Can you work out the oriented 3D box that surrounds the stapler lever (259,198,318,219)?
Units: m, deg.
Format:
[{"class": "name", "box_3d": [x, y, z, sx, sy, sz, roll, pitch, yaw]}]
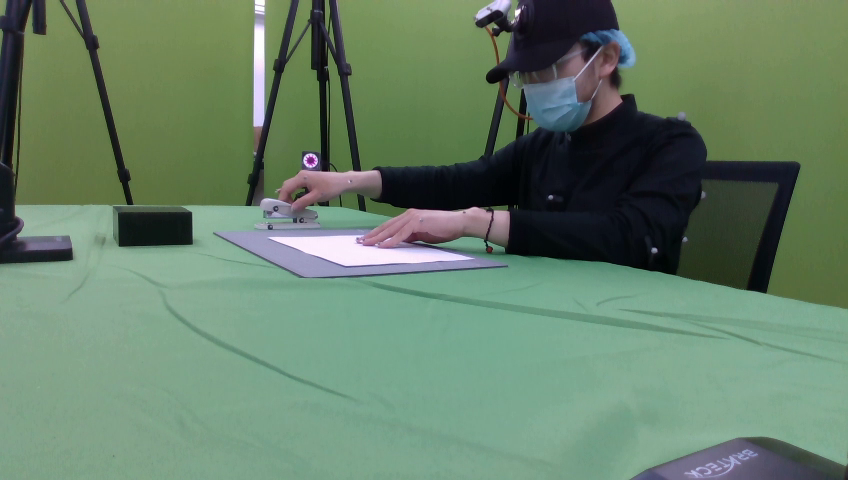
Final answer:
[{"class": "stapler lever", "box_3d": [-0.267, -0.061, 1.195, 0.119, 0.040, 0.026, -1, 11, -40]}]

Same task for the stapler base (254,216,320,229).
[{"class": "stapler base", "box_3d": [-0.270, -0.036, 1.197, 0.131, 0.024, 0.041, -1, 11, -40]}]
